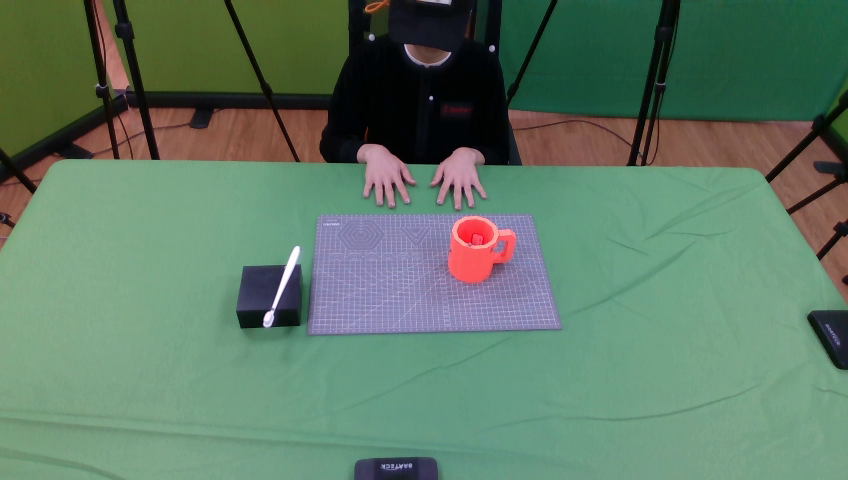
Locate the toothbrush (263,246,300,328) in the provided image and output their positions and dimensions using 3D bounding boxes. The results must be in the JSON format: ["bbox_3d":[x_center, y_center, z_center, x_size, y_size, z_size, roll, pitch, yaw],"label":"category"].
[{"bbox_3d":[-0.243,0.074,1.042,0.014,0.017,0.181,5,45,6],"label":"toothbrush"}]

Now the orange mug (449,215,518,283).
[{"bbox_3d":[0.110,0.015,1.130,0.126,0.101,0.083,-9,47,-6],"label":"orange mug"}]
